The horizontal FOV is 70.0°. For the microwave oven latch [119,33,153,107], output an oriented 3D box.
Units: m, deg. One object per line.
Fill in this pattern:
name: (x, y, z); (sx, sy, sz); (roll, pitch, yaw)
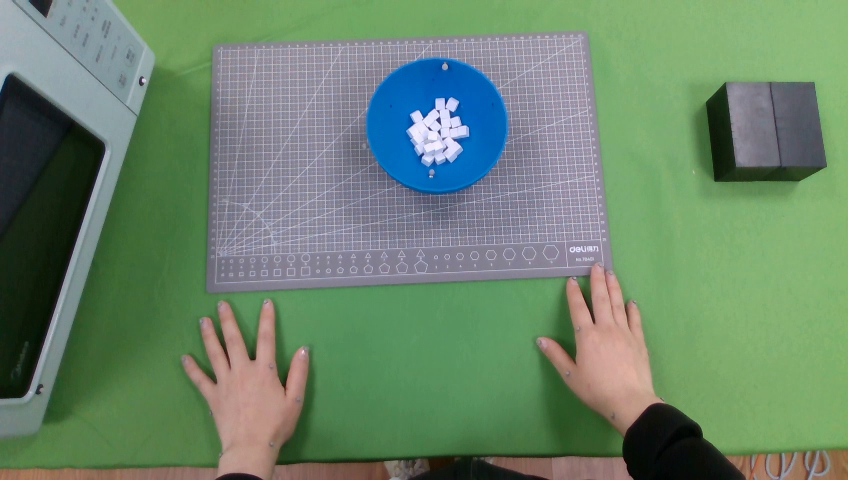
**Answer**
microwave oven latch: (-0.331, -0.193, 0.681); (0.030, 0.029, 0.079); (13, 79, 2)

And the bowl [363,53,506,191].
bowl: (0.011, -0.117, 0.666); (0.151, 0.077, 0.150); (0, 78, 0)

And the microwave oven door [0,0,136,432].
microwave oven door: (-0.376, -0.005, 0.538); (0.039, 0.245, 0.354); (11, 78, 2)

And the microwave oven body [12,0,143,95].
microwave oven body: (-0.511, -0.073, 0.556); (0.326, 0.261, 0.440); (11, 79, 1)
